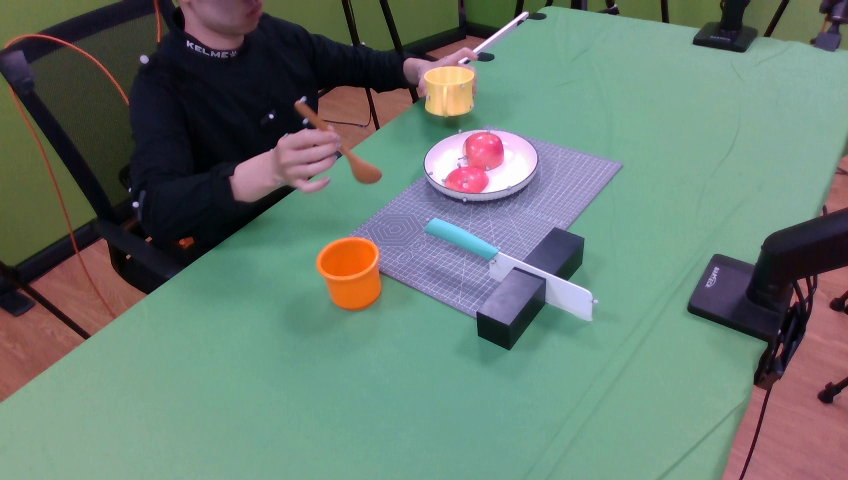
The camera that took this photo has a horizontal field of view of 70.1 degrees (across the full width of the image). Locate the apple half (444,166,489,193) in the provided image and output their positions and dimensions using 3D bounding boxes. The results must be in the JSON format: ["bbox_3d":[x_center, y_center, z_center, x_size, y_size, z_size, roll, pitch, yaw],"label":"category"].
[{"bbox_3d":[0.074,-0.113,1.063,0.081,0.033,0.081,-6,39,5],"label":"apple half"}]

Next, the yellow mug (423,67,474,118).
[{"bbox_3d":[0.047,-0.287,1.194,0.100,0.064,0.130,1,37,8],"label":"yellow mug"}]

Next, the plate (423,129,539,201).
[{"bbox_3d":[0.103,-0.132,1.092,0.209,0.038,0.208,-4,40,4],"label":"plate"}]

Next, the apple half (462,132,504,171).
[{"bbox_3d":[0.109,-0.170,1.110,0.075,0.053,0.080,-6,40,-2],"label":"apple half"}]

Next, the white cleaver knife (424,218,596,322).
[{"bbox_3d":[0.114,0.042,0.865,0.284,0.066,0.021,27,47,28],"label":"white cleaver knife"}]

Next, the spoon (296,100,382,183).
[{"bbox_3d":[-0.122,-0.137,0.872,0.041,0.195,0.021,-23,47,21],"label":"spoon"}]
